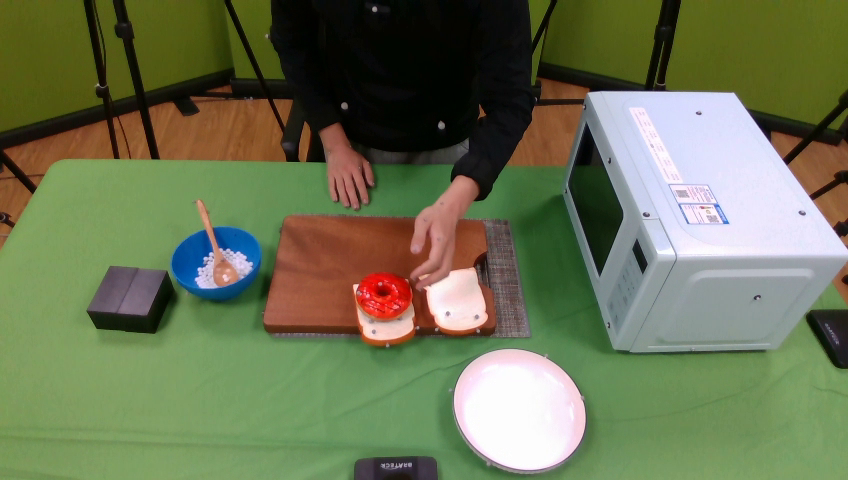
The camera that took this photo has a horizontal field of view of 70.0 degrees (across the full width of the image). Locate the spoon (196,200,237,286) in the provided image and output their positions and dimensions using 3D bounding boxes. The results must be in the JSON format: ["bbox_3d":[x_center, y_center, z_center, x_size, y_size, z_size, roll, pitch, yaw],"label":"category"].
[{"bbox_3d":[-0.378,0.003,1.086,0.042,0.022,0.192,-15,67,-24],"label":"spoon"}]

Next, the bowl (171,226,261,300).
[{"bbox_3d":[-0.363,0.054,1.081,0.151,0.077,0.150,2,45,-2],"label":"bowl"}]

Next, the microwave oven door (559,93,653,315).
[{"bbox_3d":[0.327,-0.074,1.123,0.039,0.245,0.353,-1,46,-5],"label":"microwave oven door"}]

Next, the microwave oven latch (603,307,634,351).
[{"bbox_3d":[0.332,0.153,1.044,0.030,0.029,0.078,0,45,-3],"label":"microwave oven latch"}]

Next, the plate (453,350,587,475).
[{"bbox_3d":[0.147,0.267,0.943,0.208,0.039,0.206,2,46,-2],"label":"plate"}]

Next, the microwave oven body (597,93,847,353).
[{"bbox_3d":[0.475,-0.041,1.109,0.326,0.261,0.438,-1,45,-4],"label":"microwave oven body"}]

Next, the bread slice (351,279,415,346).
[{"bbox_3d":[-0.067,0.122,1.040,0.105,0.019,0.130,-7,48,-9],"label":"bread slice"}]

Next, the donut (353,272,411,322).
[{"bbox_3d":[-0.070,0.096,1.025,0.099,0.048,0.098,2,45,-2],"label":"donut"}]

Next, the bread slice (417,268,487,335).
[{"bbox_3d":[0.055,0.107,1.063,0.107,0.018,0.133,-9,48,-12],"label":"bread slice"}]
